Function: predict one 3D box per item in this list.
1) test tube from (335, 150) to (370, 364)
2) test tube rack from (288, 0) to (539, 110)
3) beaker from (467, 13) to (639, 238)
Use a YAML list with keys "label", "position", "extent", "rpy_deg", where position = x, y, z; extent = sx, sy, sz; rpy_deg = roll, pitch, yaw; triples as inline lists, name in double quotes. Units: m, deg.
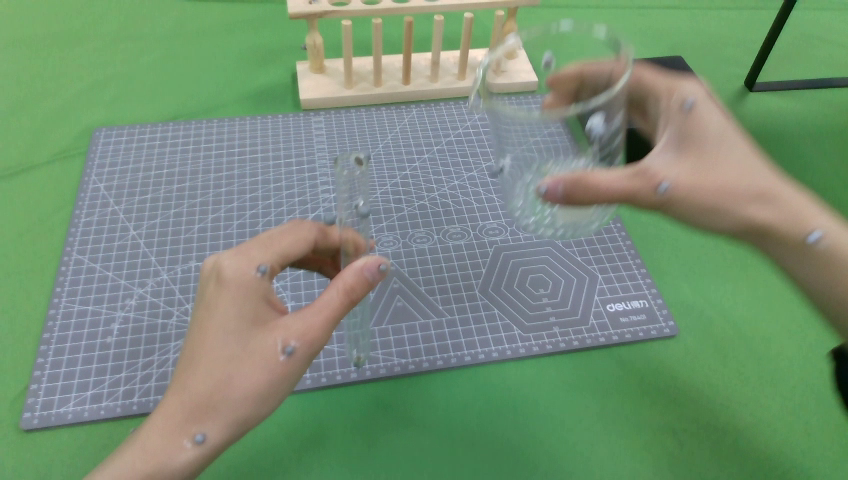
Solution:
- label: "test tube"
  position: [-0.037, 0.018, 0.320]
  extent: [0.017, 0.151, 0.017]
  rpy_deg: [3, 43, -2]
- label: "test tube rack"
  position: [-0.007, -0.194, 0.609]
  extent: [0.243, 0.086, 0.066]
  rpy_deg: [-7, 50, -9]
- label: "beaker"
  position: [0.070, -0.055, 0.325]
  extent: [0.084, 0.101, 0.073]
  rpy_deg: [-22, 48, -1]
